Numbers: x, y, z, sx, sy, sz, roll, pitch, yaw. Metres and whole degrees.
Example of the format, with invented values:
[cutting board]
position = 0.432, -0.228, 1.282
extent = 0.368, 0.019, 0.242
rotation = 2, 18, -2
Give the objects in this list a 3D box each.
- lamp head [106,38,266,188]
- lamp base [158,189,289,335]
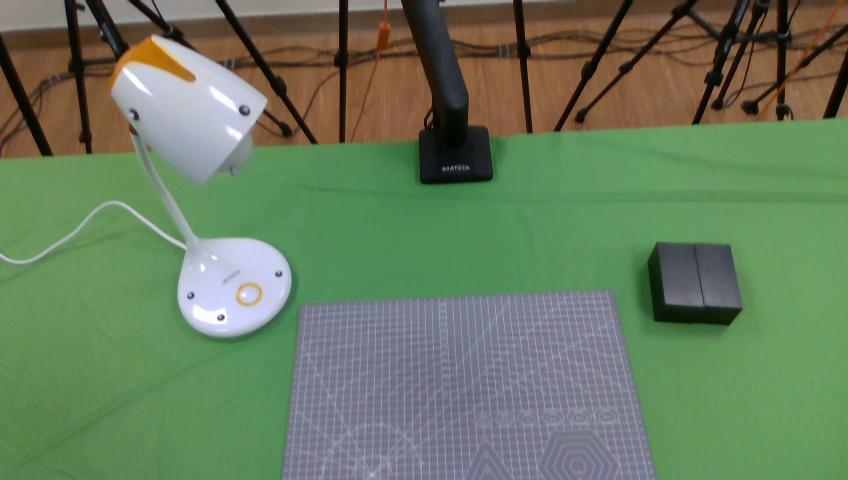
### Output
[lamp head]
position = -0.231, -0.126, 0.574
extent = 0.124, 0.112, 0.112
rotation = 37, 57, -20
[lamp base]
position = -0.291, 0.017, 0.820
extent = 0.178, 0.182, 0.160
rotation = 26, 61, 22
